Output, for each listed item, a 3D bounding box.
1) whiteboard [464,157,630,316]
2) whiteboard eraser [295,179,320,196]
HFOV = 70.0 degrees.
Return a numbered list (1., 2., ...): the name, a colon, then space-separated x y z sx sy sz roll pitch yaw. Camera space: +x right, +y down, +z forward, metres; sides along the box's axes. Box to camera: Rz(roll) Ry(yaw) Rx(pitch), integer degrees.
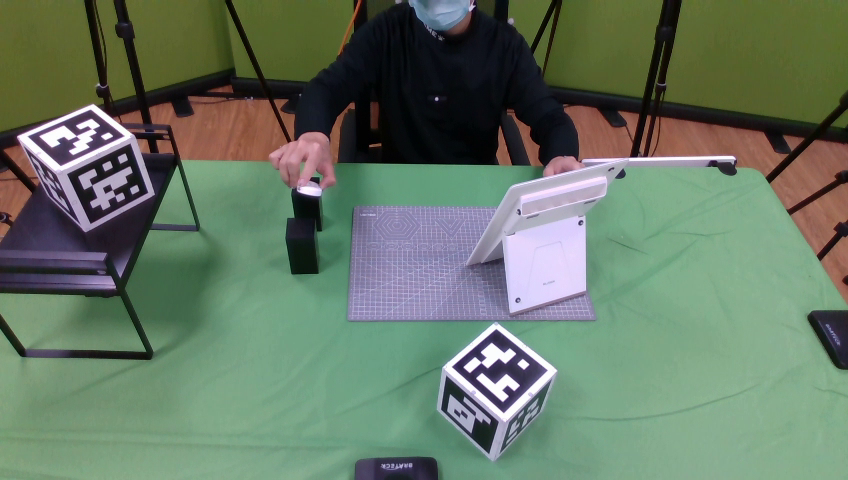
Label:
1. whiteboard: 0.224 0.014 1.043 0.217 0.306 0.143 -14 68 -17
2. whiteboard eraser: -0.208 -0.095 1.081 0.041 0.019 0.101 14 8 -16
